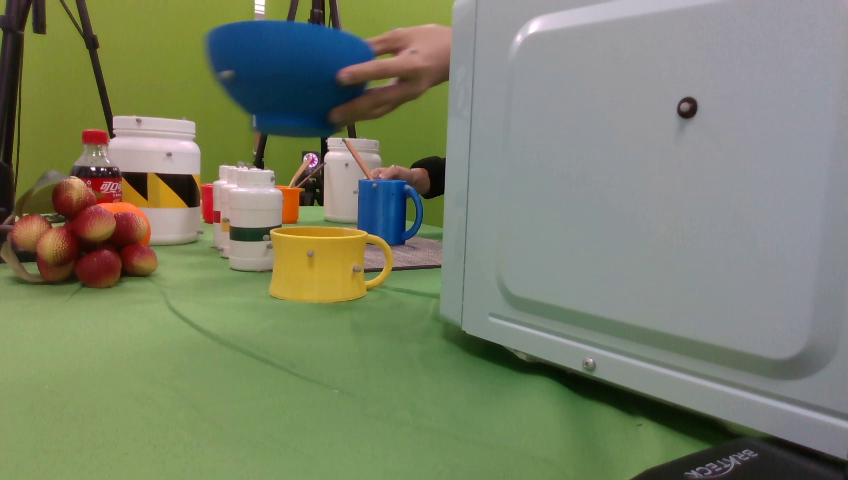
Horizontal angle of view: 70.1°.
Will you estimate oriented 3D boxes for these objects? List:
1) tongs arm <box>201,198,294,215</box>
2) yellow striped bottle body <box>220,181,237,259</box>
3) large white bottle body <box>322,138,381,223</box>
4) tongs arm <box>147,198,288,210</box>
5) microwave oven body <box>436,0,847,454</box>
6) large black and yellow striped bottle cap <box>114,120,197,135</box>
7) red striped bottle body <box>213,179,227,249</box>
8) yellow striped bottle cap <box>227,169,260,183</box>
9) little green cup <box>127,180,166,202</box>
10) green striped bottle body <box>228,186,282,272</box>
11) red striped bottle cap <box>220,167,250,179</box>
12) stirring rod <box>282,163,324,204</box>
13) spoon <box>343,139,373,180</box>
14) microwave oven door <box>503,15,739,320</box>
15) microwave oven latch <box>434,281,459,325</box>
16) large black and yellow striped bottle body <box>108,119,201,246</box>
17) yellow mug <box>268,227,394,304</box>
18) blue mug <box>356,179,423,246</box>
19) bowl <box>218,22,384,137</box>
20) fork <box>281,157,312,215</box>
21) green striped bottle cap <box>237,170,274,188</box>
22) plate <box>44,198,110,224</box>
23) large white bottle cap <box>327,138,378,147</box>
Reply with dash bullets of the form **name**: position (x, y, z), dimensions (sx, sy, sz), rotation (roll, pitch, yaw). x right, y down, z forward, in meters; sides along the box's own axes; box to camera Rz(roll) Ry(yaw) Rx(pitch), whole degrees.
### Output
- **tongs arm**: position (-0.423, -0.085, 1.472), dimensions (0.050, 0.026, 0.386), rotation (2, 6, 22)
- **yellow striped bottle body**: position (-0.246, -0.036, 0.825), dimensions (0.063, 0.120, 0.063), rotation (3, 8, 0)
- **large white bottle body**: position (-0.163, -0.135, 1.369), dimensions (0.131, 0.184, 0.130), rotation (2, 7, 0)
- **tongs arm**: position (-0.502, -0.092, 1.513), dimensions (0.028, 0.028, 0.390), rotation (0, 4, 38)
- **microwave oven body**: position (0.279, -0.040, 0.464), dimensions (0.444, 0.260, 0.324), rotation (-3, 9, -41)
- **large black and yellow striped bottle cap**: position (-0.407, -0.171, 0.920), dimensions (0.115, 0.019, 0.115), rotation (2, 9, 0)
- **red striped bottle body**: position (-0.284, -0.048, 0.909), dimensions (0.063, 0.119, 0.063), rotation (3, 10, 0)
- **yellow striped bottle cap**: position (-0.243, -0.086, 0.818), dimensions (0.044, 0.018, 0.044), rotation (3, 7, 0)
- **little green cup**: position (-0.486, -0.086, 1.061), dimensions (0.061, 0.038, 0.061), rotation (1, 7, 0)
- **green striped bottle body**: position (-0.208, -0.023, 0.745), dimensions (0.063, 0.119, 0.063), rotation (3, 7, 0)
- **red striped bottle cap**: position (-0.281, -0.100, 0.901), dimensions (0.044, 0.017, 0.044), rotation (0, 5, 0)
- **stirring rod**: position (-0.278, -0.105, 1.293), dimensions (0.176, 0.006, 0.014), rotation (-47, 25, -18)
- **spoon**: position (-0.090, -0.094, 1.024), dimensions (0.021, 0.193, 0.042), rotation (-34, -16, 28)
- **microwave oven door**: position (0.218, -0.065, 0.601), dimensions (0.358, 0.243, 0.039), rotation (-4, 10, -41)
- **microwave oven latch**: position (0.044, 0.045, 0.470), dimensions (0.079, 0.029, 0.030), rotation (-2, 8, -39)
- **large black and yellow striped bottle body**: position (-0.412, -0.088, 0.930), dimensions (0.131, 0.184, 0.130), rotation (3, 7, 0)
- **yellow mug**: position (-0.094, 0.023, 0.629), dimensions (0.131, 0.064, 0.099), rotation (1, 7, -22)
- **blue mug**: position (-0.056, -0.046, 1.005), dimensions (0.116, 0.106, 0.082), rotation (6, 8, 22)
- **bowl**: position (-0.113, -0.140, 0.564), dimensions (0.151, 0.077, 0.151), rotation (1, 1, 0)
- **fork**: position (-0.289, -0.116, 1.321), dimensions (0.028, 0.019, 0.207), rotation (6, 51, 19)
- **green striped bottle cap**: position (-0.206, -0.074, 0.739), dimensions (0.044, 0.020, 0.044), rotation (2, 12, 0)
- **plate**: position (-0.617, -0.056, 1.179), dimensions (0.209, 0.038, 0.209), rotation (3, 7, 0)
- **large white bottle cap**: position (-0.160, -0.218, 1.357), dimensions (0.115, 0.018, 0.115), rotation (2, 8, 0)
